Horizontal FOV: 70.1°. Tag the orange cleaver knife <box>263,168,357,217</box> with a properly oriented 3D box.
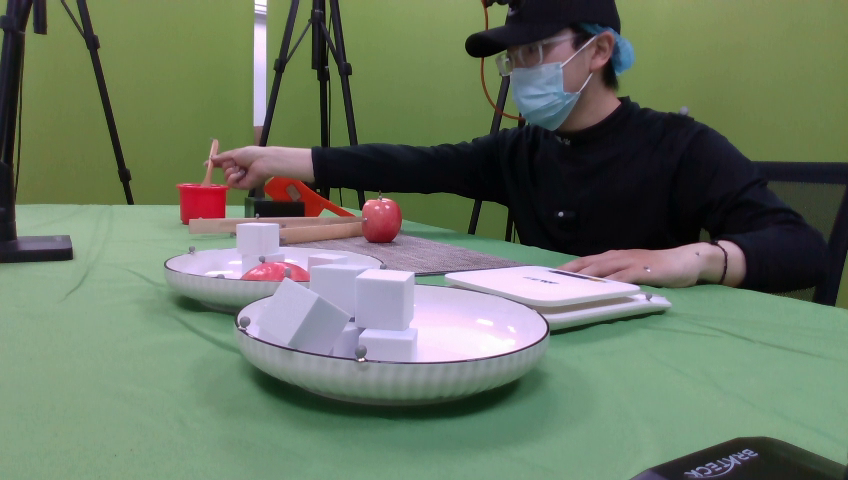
[{"bbox_3d":[-0.240,-0.078,1.294,0.212,0.077,0.012,32,-7,-26],"label":"orange cleaver knife"}]

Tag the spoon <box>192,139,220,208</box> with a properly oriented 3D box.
[{"bbox_3d":[-0.431,-0.137,1.222,0.042,0.193,0.021,11,-37,-16],"label":"spoon"}]

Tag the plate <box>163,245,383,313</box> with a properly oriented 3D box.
[{"bbox_3d":[-0.145,0.038,0.600,0.209,0.038,0.209,2,8,0],"label":"plate"}]

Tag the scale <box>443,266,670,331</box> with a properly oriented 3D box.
[{"bbox_3d":[0.131,0.052,0.603,0.202,0.031,0.148,-2,9,-37],"label":"scale"}]

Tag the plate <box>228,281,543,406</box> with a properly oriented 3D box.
[{"bbox_3d":[-0.025,0.067,0.413,0.208,0.039,0.207,3,7,0],"label":"plate"}]

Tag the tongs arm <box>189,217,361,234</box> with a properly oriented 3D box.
[{"bbox_3d":[-0.220,-0.028,1.088,0.387,0.026,0.050,-3,8,-43],"label":"tongs arm"}]

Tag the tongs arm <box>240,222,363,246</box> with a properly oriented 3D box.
[{"bbox_3d":[-0.159,-0.017,1.033,0.028,0.028,0.389,2,5,33],"label":"tongs arm"}]

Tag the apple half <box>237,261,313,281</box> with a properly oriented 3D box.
[{"bbox_3d":[-0.141,0.036,0.578,0.081,0.033,0.081,2,11,0],"label":"apple half"}]

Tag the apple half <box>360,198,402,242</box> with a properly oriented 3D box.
[{"bbox_3d":[-0.066,-0.032,1.014,0.053,0.074,0.081,9,6,21],"label":"apple half"}]
